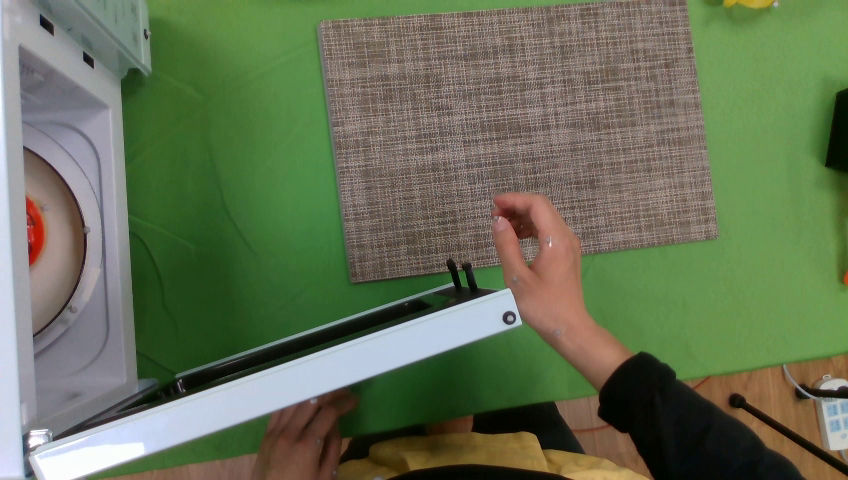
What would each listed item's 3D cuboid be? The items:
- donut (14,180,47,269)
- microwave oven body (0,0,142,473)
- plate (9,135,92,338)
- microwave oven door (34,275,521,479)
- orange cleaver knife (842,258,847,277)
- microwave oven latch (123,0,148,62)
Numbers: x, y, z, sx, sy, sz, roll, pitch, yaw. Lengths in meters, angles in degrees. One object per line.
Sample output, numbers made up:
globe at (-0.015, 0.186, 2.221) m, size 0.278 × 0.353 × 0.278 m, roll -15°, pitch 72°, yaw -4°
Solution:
donut at (-0.404, -0.013, 0.561) m, size 0.099 × 0.048 × 0.099 m, roll 0°, pitch 90°, yaw -7°
microwave oven body at (-0.430, -0.046, 0.517) m, size 0.326 × 0.260 × 0.441 m, roll -4°, pitch 89°, yaw -7°
plate at (-0.421, 0.000, 0.569) m, size 0.209 × 0.038 × 0.209 m, roll 0°, pitch 88°, yaw -8°
microwave oven door at (-0.109, 0.103, 0.548) m, size 0.356 × 0.243 × 0.039 m, roll -18°, pitch 89°, yaw -7°
orange cleaver knife at (0.557, -0.055, 0.731) m, size 0.012 × 0.076 × 0.212 m, roll 13°, pitch 117°, yaw -3°
microwave oven latch at (-0.307, -0.229, 0.634) m, size 0.030 × 0.029 × 0.079 m, roll -2°, pitch 89°, yaw -7°
